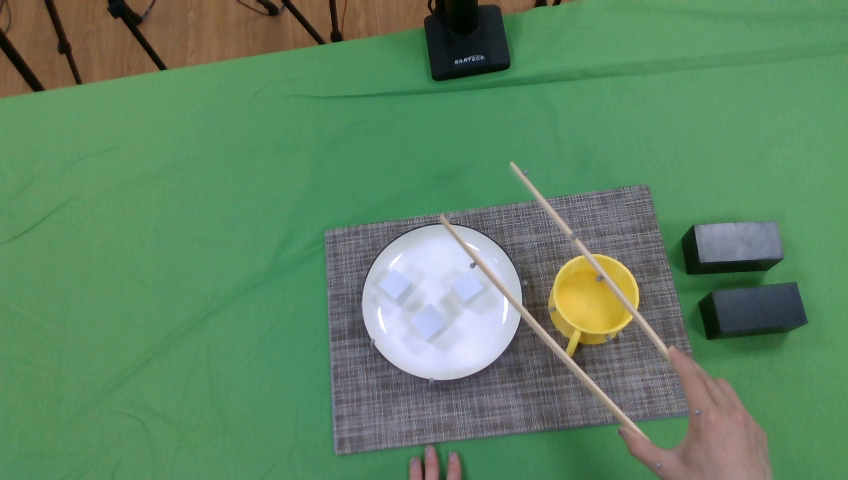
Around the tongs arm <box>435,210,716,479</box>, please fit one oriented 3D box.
[{"bbox_3d":[0.136,0.099,0.626,0.028,0.028,0.384,-40,67,-7],"label":"tongs arm"}]

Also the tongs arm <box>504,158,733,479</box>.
[{"bbox_3d":[0.182,0.064,0.626,0.051,0.027,0.381,-36,68,-2],"label":"tongs arm"}]

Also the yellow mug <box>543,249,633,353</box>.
[{"bbox_3d":[0.193,0.082,0.744,0.099,0.064,0.130,23,75,13],"label":"yellow mug"}]

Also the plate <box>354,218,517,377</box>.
[{"bbox_3d":[0.015,0.074,0.780,0.207,0.039,0.206,-2,71,5],"label":"plate"}]
